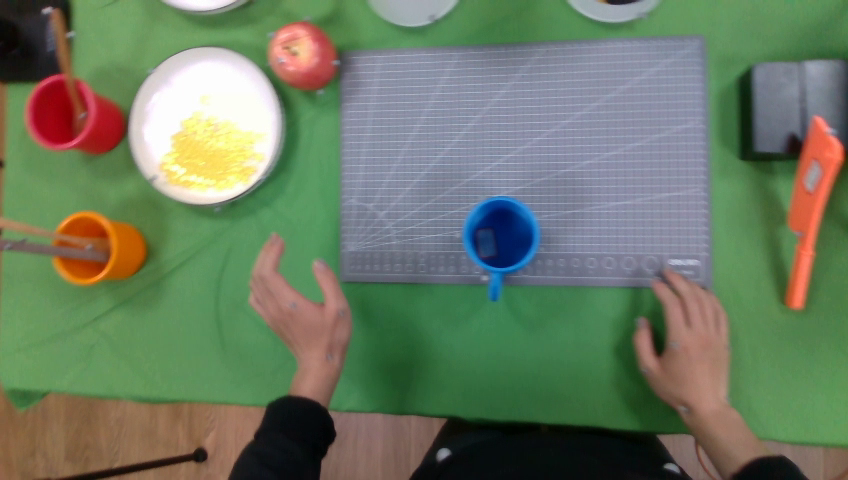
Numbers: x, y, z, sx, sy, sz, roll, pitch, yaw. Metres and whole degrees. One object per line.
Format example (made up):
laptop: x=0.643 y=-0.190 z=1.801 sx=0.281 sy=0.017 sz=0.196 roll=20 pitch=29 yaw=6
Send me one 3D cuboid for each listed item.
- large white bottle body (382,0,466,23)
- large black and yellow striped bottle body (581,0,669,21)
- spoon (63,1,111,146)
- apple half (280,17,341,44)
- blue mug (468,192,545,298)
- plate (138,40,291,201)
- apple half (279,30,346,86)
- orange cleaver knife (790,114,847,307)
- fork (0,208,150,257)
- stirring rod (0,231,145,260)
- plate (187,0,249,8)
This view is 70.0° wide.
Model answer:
large white bottle body: x=-0.011 y=-0.344 z=0.687 sx=0.130 sy=0.185 sz=0.130 roll=0 pitch=87 yaw=9
large black and yellow striped bottle body: x=0.230 y=-0.333 z=0.650 sx=0.130 sy=0.184 sz=0.130 roll=0 pitch=87 yaw=9
spoon: x=-0.429 y=-0.203 z=0.765 sx=0.041 sy=0.021 sz=0.195 roll=22 pitch=135 yaw=10
apple half: x=-0.144 y=-0.259 z=0.759 sx=0.081 sy=0.081 sz=0.033 roll=-14 pitch=90 yaw=8
blue mug: x=0.093 y=0.009 z=0.695 sx=0.082 sy=0.106 sz=0.116 roll=9 pitch=89 yaw=9
plate: x=-0.269 y=-0.154 z=0.793 sx=0.209 sy=0.038 sz=0.209 roll=0 pitch=88 yaw=9
apple half: x=-0.135 y=-0.221 z=0.758 sx=0.081 sy=0.074 sz=0.053 roll=-14 pitch=90 yaw=5
orange cleaver knife: x=0.421 y=-0.027 z=0.658 sx=0.012 sy=0.076 sz=0.213 roll=0 pitch=119 yaw=9
fork: x=-0.454 y=-0.014 z=0.759 sx=0.209 sy=0.018 sz=0.028 roll=19 pitch=89 yaw=-34
stirring rod: x=-0.446 y=0.006 z=0.759 sx=0.177 sy=0.006 sz=0.014 roll=10 pitch=76 yaw=-31
plate: x=-0.264 y=-0.407 z=0.802 sx=0.207 sy=0.039 sz=0.207 roll=0 pitch=88 yaw=9
